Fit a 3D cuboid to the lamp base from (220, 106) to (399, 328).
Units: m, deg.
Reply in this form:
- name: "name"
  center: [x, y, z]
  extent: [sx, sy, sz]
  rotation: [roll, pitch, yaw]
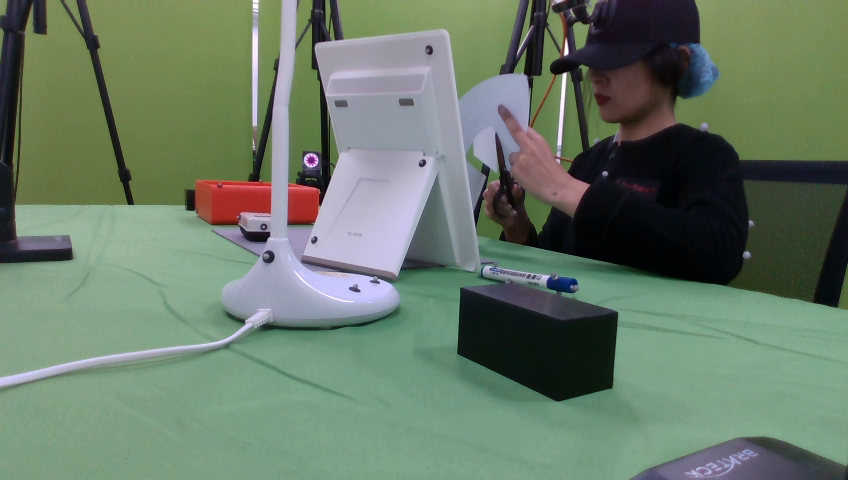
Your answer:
- name: "lamp base"
  center: [-0.102, -0.023, 0.531]
  extent: [0.160, 0.180, 0.179]
  rotation: [4, 10, 10]

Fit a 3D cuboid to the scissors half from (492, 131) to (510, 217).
- name: "scissors half"
  center: [0.139, -0.113, 1.070]
  extent: [0.040, 0.175, 0.013]
  rotation: [-29, 44, -31]

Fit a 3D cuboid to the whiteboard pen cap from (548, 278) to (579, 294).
- name: "whiteboard pen cap"
  center: [0.148, 0.049, 0.647]
  extent: [0.018, 0.018, 0.033]
  rotation: [-3, 3, -35]

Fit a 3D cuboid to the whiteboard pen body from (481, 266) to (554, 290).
- name: "whiteboard pen body"
  center: [0.115, 0.044, 0.695]
  extent: [0.017, 0.017, 0.140]
  rotation: [-3, 5, -35]

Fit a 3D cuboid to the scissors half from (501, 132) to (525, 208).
- name: "scissors half"
  center: [0.155, -0.124, 1.077]
  extent: [0.040, 0.176, 0.012]
  rotation: [-39, 48, -14]

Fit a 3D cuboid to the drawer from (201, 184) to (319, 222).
- name: "drawer"
  center: [-0.353, -0.082, 1.296]
  extent: [0.213, 0.073, 0.193]
  rotation: [-2, 10, -28]

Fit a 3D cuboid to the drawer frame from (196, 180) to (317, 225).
- name: "drawer frame"
  center: [-0.359, -0.083, 1.292]
  extent: [0.215, 0.082, 0.200]
  rotation: [-2, 10, -30]

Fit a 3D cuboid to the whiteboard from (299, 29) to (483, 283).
- name: "whiteboard"
  center: [-0.074, -0.082, 0.742]
  extent: [0.216, 0.305, 0.144]
  rotation: [9, 29, 38]

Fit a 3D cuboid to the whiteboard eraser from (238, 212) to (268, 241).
- name: "whiteboard eraser"
  center: [-0.272, -0.024, 0.998]
  extent: [0.056, 0.042, 0.112]
  rotation: [-2, 9, -24]
